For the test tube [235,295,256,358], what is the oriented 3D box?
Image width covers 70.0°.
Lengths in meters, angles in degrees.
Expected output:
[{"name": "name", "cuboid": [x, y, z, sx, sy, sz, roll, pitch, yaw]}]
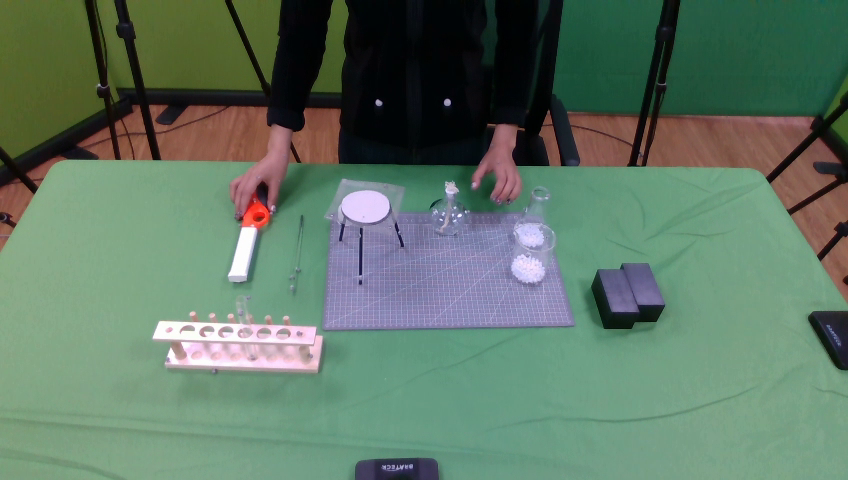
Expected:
[{"name": "test tube", "cuboid": [-0.274, 0.136, 0.933, 0.017, 0.151, 0.017, 4, 45, -4]}]

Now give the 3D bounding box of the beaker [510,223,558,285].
[{"name": "beaker", "cuboid": [0.199, 0.028, 1.131, 0.083, 0.101, 0.074, 26, 50, 21]}]

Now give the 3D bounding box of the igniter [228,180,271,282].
[{"name": "igniter", "cuboid": [-0.342, -0.027, 1.195, 0.057, 0.025, 0.274, 1, 45, -3]}]

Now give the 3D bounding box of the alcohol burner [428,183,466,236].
[{"name": "alcohol burner", "cuboid": [0.047, -0.066, 1.200, 0.078, 0.119, 0.077, 4, 45, -4]}]

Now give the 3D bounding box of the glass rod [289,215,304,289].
[{"name": "glass rod", "cuboid": [-0.246, 0.020, 1.171, 0.008, 0.008, 0.198, 1, 43, -3]}]

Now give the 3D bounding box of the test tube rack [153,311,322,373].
[{"name": "test tube rack", "cuboid": [-0.293, 0.160, 0.977, 0.242, 0.085, 0.066, 3, 46, -2]}]

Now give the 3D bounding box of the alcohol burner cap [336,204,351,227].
[{"name": "alcohol burner cap", "cuboid": [-0.162, -0.053, 1.220, 0.034, 0.048, 0.033, 2, 46, -2]}]

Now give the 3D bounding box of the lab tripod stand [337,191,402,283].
[{"name": "lab tripod stand", "cuboid": [-0.106, -0.016, 1.125, 0.148, 0.132, 0.147, 3, 44, -2]}]

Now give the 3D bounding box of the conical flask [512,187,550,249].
[{"name": "conical flask", "cuboid": [0.217, -0.048, 1.190, 0.075, 0.122, 0.075, 2, 46, -2]}]

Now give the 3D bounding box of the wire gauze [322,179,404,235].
[{"name": "wire gauze", "cuboid": [-0.106, -0.064, 1.078, 0.125, 0.011, 0.121, 11, 45, 5]}]
